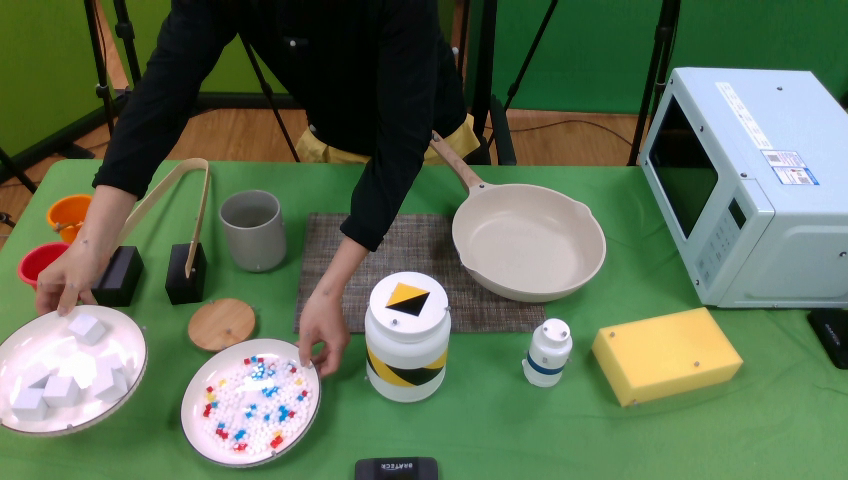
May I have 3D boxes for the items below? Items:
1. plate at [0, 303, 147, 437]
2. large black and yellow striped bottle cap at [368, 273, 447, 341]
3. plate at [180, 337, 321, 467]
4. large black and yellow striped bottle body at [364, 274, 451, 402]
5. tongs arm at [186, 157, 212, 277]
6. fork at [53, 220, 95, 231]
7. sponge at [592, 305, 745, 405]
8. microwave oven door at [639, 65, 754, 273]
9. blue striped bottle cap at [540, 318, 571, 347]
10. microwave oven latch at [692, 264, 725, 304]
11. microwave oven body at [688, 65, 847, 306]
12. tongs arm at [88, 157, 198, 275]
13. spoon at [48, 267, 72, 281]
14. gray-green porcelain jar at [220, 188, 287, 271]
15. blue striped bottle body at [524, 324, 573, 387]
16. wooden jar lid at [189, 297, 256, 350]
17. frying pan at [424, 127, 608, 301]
[{"bbox_3d":[-0.496,0.181,0.847,0.208,0.039,0.206,4,47,-4],"label":"plate"},{"bbox_3d":[-0.023,0.094,0.875,0.115,0.019,0.114,2,45,-2],"label":"large black and yellow striped bottle cap"},{"bbox_3d":[-0.259,0.245,0.921,0.209,0.038,0.208,-1,49,1],"label":"plate"},{"bbox_3d":[-0.026,0.151,0.937,0.131,0.185,0.130,2,47,-2],"label":"large black and yellow striped bottle body"},{"bbox_3d":[-0.444,-0.058,1.168,0.051,0.026,0.382,-3,37,-7],"label":"tongs arm"},{"bbox_3d":[-0.627,-0.026,1.086,0.028,0.207,0.018,0,91,-15],"label":"fork"},{"bbox_3d":[0.405,0.190,1.015,0.207,0.061,0.117,-10,48,-12],"label":"sponge"},{"bbox_3d":[0.522,-0.147,1.193,0.039,0.245,0.353,1,47,-3],"label":"microwave oven door"},{"bbox_3d":[0.203,0.142,0.933,0.044,0.021,0.044,3,50,-4],"label":"blue striped bottle cap"},{"bbox_3d":[0.522,0.081,1.116,0.030,0.029,0.078,1,46,-2],"label":"microwave oven latch"},{"bbox_3d":[0.669,-0.111,1.176,0.326,0.261,0.439,0,46,-3],"label":"microwave oven body"},{"bbox_3d":[-0.529,-0.061,1.162,0.028,0.028,0.385,3,35,7],"label":"tongs arm"},{"bbox_3d":[-0.609,0.058,1.010,0.041,0.022,0.193,-29,12,-28],"label":"spoon"},{"bbox_3d":[-0.309,-0.014,1.113,0.106,0.127,0.105,2,46,-2],"label":"gray-green porcelain jar"},{"bbox_3d":[0.200,0.178,0.970,0.063,0.121,0.062,2,46,-2],"label":"blue striped bottle body"},{"bbox_3d":[-0.342,0.145,1.033,0.108,0.021,0.107,3,45,-3],"label":"wooden jar lid"},{"bbox_3d":[0.144,-0.070,1.208,0.307,0.103,0.485,-23,61,-25],"label":"frying pan"}]
